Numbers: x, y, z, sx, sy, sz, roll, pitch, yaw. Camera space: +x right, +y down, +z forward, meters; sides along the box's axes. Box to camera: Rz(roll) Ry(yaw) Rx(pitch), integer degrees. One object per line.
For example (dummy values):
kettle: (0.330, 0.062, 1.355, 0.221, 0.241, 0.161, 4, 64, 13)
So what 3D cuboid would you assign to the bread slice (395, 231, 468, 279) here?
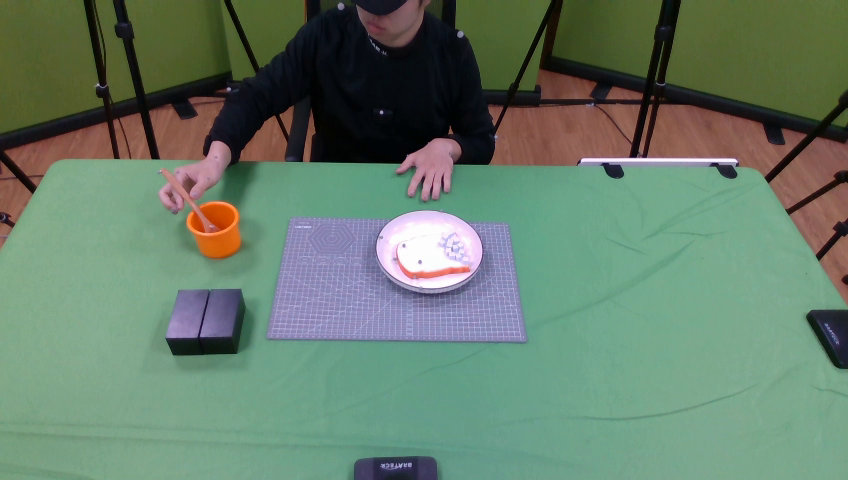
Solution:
bread slice: (0.011, 0.030, 1.158, 0.132, 0.019, 0.104, -9, 47, -14)

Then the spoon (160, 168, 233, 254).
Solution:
spoon: (-0.424, -0.055, 1.130, 0.041, 0.194, 0.021, -42, 18, -31)

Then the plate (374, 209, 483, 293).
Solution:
plate: (0.009, 0.024, 1.160, 0.209, 0.038, 0.208, 2, 46, -2)
